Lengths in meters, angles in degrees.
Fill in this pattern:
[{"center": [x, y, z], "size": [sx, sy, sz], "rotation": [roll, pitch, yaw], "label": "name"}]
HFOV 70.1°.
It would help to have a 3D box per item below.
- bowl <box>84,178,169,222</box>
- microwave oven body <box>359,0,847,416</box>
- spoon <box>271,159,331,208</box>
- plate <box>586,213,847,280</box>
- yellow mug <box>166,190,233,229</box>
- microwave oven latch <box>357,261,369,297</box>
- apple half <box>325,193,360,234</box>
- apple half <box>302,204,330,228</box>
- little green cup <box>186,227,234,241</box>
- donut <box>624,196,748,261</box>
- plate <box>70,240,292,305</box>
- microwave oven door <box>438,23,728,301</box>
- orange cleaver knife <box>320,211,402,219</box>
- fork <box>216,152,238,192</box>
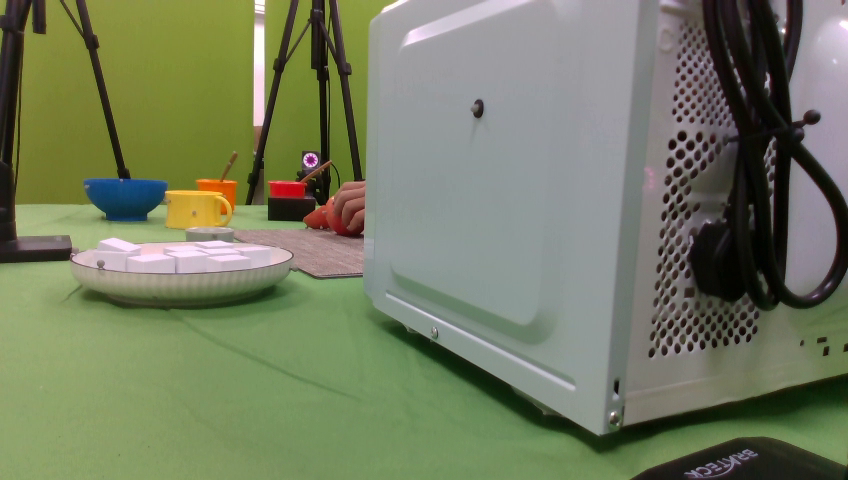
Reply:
[{"center": [-0.584, -0.078, 1.194], "size": [0.151, 0.077, 0.151], "rotation": [3, 8, 0], "label": "bowl"}, {"center": [0.211, -0.047, 0.474], "size": [0.444, 0.260, 0.324], "rotation": [-1, 7, -28], "label": "microwave oven body"}, {"center": [-0.308, -0.141, 1.513], "size": [0.193, 0.021, 0.041], "rotation": [-42, 1, 8], "label": "spoon"}, {"center": [0.243, 0.002, 0.512], "size": [0.209, 0.038, 0.209], "rotation": [1, 7, 0], "label": "plate"}, {"center": [-0.415, -0.057, 1.132], "size": [0.130, 0.064, 0.100], "rotation": [6, 8, 16], "label": "yellow mug"}, {"center": [-0.019, 0.033, 0.530], "size": [0.079, 0.029, 0.030], "rotation": [-1, 7, -27], "label": "microwave oven latch"}, {"center": [-0.133, -0.047, 1.087], "size": [0.081, 0.074, 0.053], "rotation": [1, 12, -28], "label": "apple half"}, {"center": [-0.192, -0.043, 1.169], "size": [0.081, 0.032, 0.081], "rotation": [-23, -12, -5], "label": "apple half"}, {"center": [-0.284, 0.005, 0.805], "size": [0.061, 0.038, 0.061], "rotation": [2, 8, 0], "label": "little green cup"}, {"center": [0.222, -0.008, 0.519], "size": [0.099, 0.048, 0.099], "rotation": [15, 2, 0], "label": "donut"}, {"center": [-0.242, 0.032, 0.618], "size": [0.208, 0.039, 0.207], "rotation": [2, 8, 0], "label": "plate"}, {"center": [0.181, -0.072, 0.620], "size": [0.358, 0.243, 0.039], "rotation": [-2, 8, -29], "label": "microwave oven door"}, {"center": [-0.142, -0.057, 1.394], "size": [0.077, 0.012, 0.212], "rotation": [-2, 3, 44], "label": "orange cleaver knife"}, {"center": [-0.455, -0.132, 1.367], "size": [0.028, 0.018, 0.207], "rotation": [-3, -35, -38], "label": "fork"}]
